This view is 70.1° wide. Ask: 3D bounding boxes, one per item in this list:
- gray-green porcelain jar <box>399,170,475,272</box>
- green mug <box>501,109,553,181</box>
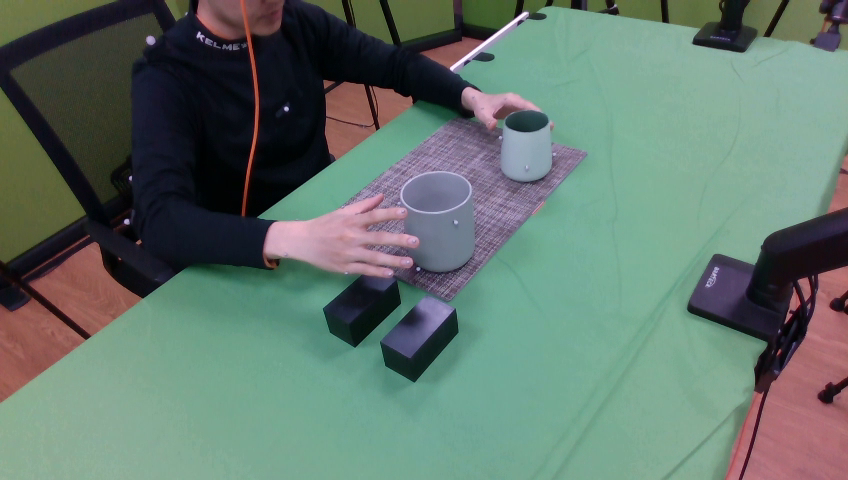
[{"bbox_3d":[0.023,-0.024,0.907,0.106,0.127,0.105,-4,41,4],"label":"gray-green porcelain jar"},{"bbox_3d":[0.177,-0.177,1.079,0.093,0.105,0.124,-13,41,-6],"label":"green mug"}]
